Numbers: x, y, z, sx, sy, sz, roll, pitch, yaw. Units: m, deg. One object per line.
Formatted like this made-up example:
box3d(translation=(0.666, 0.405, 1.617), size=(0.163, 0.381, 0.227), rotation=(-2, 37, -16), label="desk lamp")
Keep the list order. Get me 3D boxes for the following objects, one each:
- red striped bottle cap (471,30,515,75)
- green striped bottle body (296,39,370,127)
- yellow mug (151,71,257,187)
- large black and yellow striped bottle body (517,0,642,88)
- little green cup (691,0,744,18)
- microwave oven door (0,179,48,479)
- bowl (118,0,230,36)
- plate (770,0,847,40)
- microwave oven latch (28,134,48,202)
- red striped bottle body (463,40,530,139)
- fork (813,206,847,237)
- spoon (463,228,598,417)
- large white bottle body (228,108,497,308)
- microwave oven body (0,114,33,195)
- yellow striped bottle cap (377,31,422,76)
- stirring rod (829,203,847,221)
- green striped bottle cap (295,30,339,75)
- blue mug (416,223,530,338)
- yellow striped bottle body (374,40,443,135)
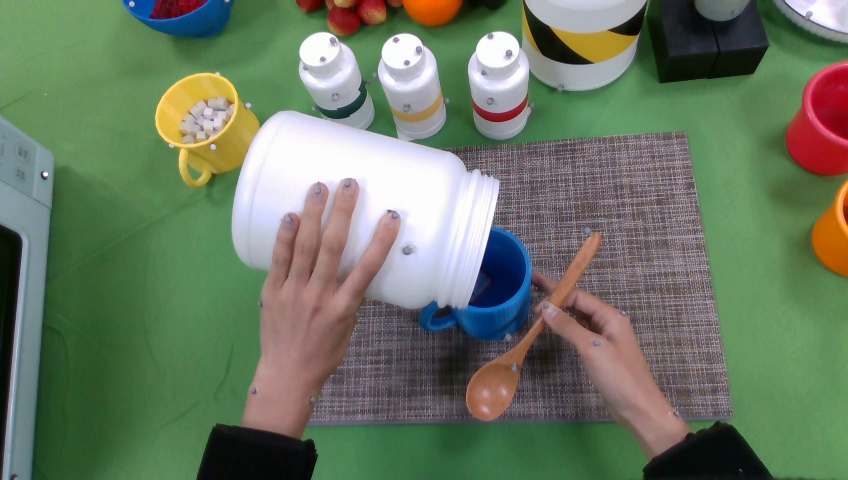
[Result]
box3d(translation=(0.069, -0.186, 0.600), size=(0.044, 0.018, 0.044), rotation=(-1, 68, 4), label="red striped bottle cap")
box3d(translation=(-0.102, -0.177, 0.678), size=(0.063, 0.120, 0.062), rotation=(-3, 69, 7), label="green striped bottle body")
box3d(translation=(-0.261, -0.125, 0.711), size=(0.100, 0.064, 0.130), rotation=(6, 71, 11), label="yellow mug")
box3d(translation=(0.164, -0.264, 0.637), size=(0.130, 0.185, 0.130), rotation=(-3, 69, 8), label="large black and yellow striped bottle body")
box3d(translation=(0.314, -0.268, 0.640), size=(0.061, 0.039, 0.061), rotation=(-2, 67, 5), label="little green cup")
box3d(translation=(-0.450, 0.082, 0.548), size=(0.039, 0.246, 0.353), rotation=(-12, 68, 4), label="microwave oven door")
box3d(translation=(-0.307, -0.320, 0.785), size=(0.151, 0.077, 0.150), rotation=(-3, 69, 7), label="bowl")
box3d(translation=(0.484, -0.307, 0.685), size=(0.209, 0.038, 0.207), rotation=(-3, 70, 7), label="plate")
box3d(translation=(-0.470, -0.084, 0.721), size=(0.030, 0.030, 0.078), rotation=(-10, 69, 4), label="microwave oven latch")
box3d(translation=(0.078, -0.166, 0.648), size=(0.063, 0.121, 0.062), rotation=(-6, 65, 13), label="red striped bottle body")
box3d(translation=(0.433, 0.003, 0.516), size=(0.028, 0.019, 0.205), rotation=(-39, 25, -7), label="fork")
box3d(translation=(0.095, 0.073, 0.525), size=(0.041, 0.021, 0.194), rotation=(32, 103, -1), label="spoon")
box3d(translation=(-0.044, -0.021, 0.484), size=(0.185, 0.131, 0.130), rotation=(15, 72, 0), label="large white bottle body")
box3d(translation=(-0.599, 0.074, 0.578), size=(0.326, 0.262, 0.438), rotation=(-12, 69, 4), label="microwave oven body")
box3d(translation=(-0.025, -0.190, 0.615), size=(0.044, 0.019, 0.044), rotation=(-2, 68, 5), label="yellow striped bottle cap")
box3d(translation=(0.403, 0.003, 0.528), size=(0.014, 0.006, 0.175), rotation=(-1, 26, 6), label="stirring rod")
box3d(translation=(-0.111, -0.195, 0.630), size=(0.044, 0.020, 0.044), rotation=(-2, 68, 6), label="green striped bottle cap")
box3d(translation=(0.044, 0.049, 0.575), size=(0.116, 0.107, 0.081), rotation=(-30, 67, -4), label="blue mug")
box3d(translation=(-0.017, -0.172, 0.663), size=(0.063, 0.121, 0.062), rotation=(-3, 68, 8), label="yellow striped bottle body")
